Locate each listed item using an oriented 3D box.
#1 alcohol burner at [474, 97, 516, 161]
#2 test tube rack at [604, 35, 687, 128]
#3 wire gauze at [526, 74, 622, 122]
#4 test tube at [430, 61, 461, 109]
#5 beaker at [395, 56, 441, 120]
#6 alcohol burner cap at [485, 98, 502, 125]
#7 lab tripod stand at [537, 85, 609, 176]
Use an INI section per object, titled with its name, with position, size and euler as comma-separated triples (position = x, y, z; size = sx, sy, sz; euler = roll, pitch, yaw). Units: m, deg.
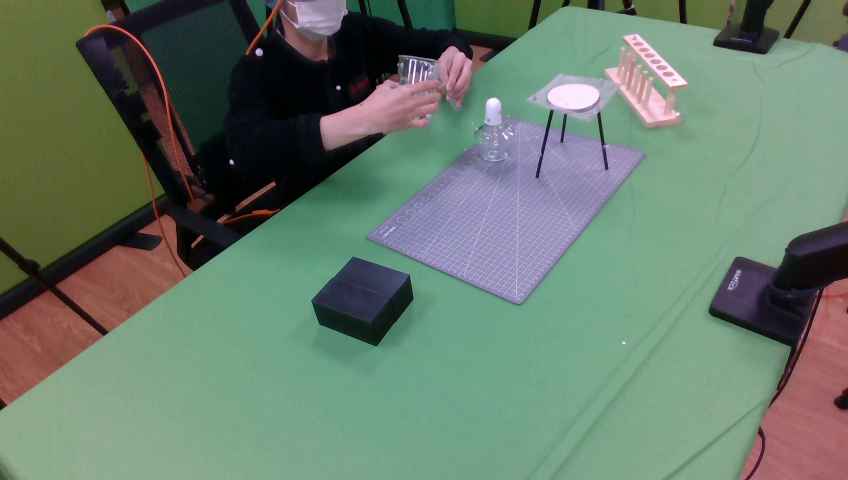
[alcohol burner]
position = 0.131, -0.208, 1.121
size = 0.078, 0.119, 0.077
euler = -6, 40, 5
[test tube rack]
position = 0.447, -0.330, 1.241
size = 0.067, 0.085, 0.241
euler = -9, 41, -2
[wire gauze]
position = 0.255, -0.248, 1.030
size = 0.124, 0.011, 0.122
euler = 24, 51, 32
[test tube]
position = 0.043, -0.289, 1.137
size = 0.017, 0.151, 0.017
euler = -7, 70, 19
[beaker]
position = -0.011, -0.263, 1.047
size = 0.073, 0.100, 0.084
euler = 18, 19, 32
[alcohol burner cap]
position = 0.126, -0.234, 1.097
size = 0.034, 0.048, 0.033
euler = -3, 39, 3
[lab tripod stand]
position = 0.259, -0.192, 1.068
size = 0.148, 0.132, 0.147
euler = -4, 43, 4
